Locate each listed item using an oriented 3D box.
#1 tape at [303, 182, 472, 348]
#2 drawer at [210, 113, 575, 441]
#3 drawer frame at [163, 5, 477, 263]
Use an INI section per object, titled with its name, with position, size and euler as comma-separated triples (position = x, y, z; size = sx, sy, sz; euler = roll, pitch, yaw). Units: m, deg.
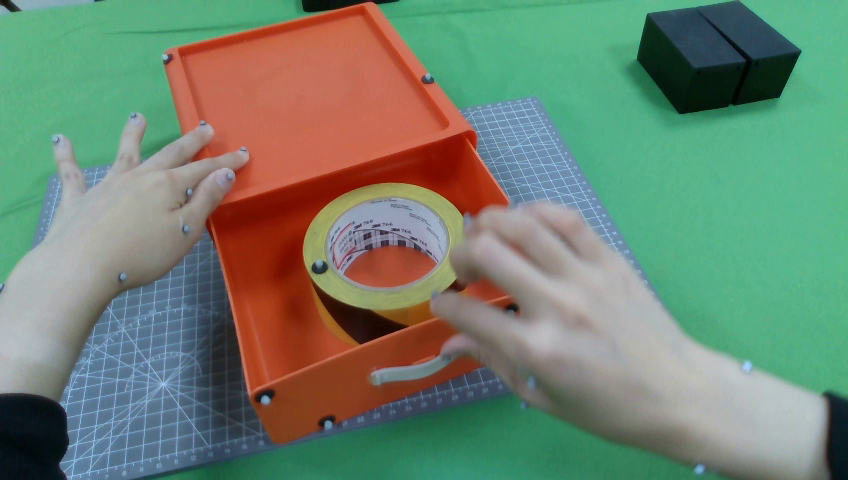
[tape]
position = -0.025, 0.017, 0.417
size = 0.117, 0.053, 0.115
euler = 0, 50, 0
[drawer]
position = -0.036, 0.003, 0.419
size = 0.195, 0.074, 0.209
euler = -18, 51, -13
[drawer frame]
position = -0.092, -0.093, 0.504
size = 0.202, 0.083, 0.211
euler = -20, 50, -14
